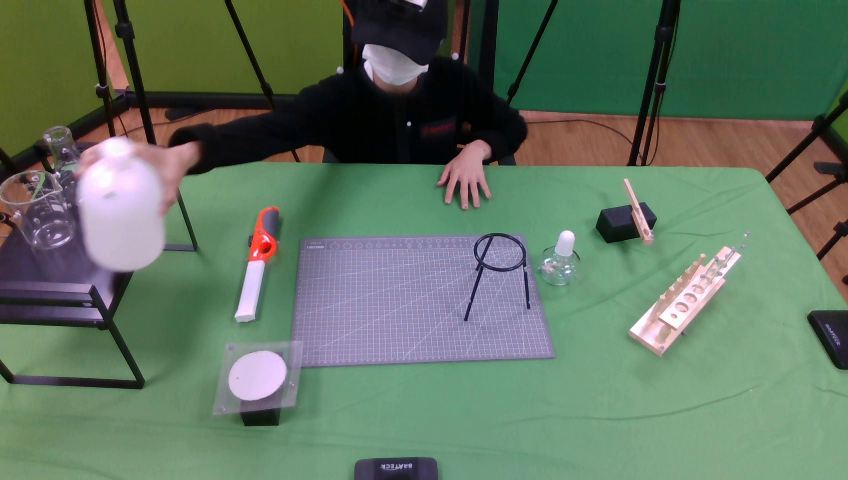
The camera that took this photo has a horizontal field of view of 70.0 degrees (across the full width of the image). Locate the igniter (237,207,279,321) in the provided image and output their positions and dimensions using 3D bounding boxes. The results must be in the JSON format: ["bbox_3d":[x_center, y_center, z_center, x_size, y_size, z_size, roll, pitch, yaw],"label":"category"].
[{"bbox_3d":[-0.309,0.035,1.136,0.057,0.025,0.274,-7,46,5],"label":"igniter"}]

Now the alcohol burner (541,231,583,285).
[{"bbox_3d":[0.258,0.028,1.123,0.078,0.120,0.077,1,48,-1],"label":"alcohol burner"}]

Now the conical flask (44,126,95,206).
[{"bbox_3d":[-0.554,-0.119,0.953,0.075,0.122,0.075,2,46,-2],"label":"conical flask"}]

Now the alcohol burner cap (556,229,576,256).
[{"bbox_3d":[0.260,0.002,1.098,0.034,0.048,0.033,3,40,-2],"label":"alcohol burner cap"}]

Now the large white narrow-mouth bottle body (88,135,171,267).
[{"bbox_3d":[-0.395,-0.058,0.817,0.102,0.195,0.101,13,44,-13],"label":"large white narrow-mouth bottle body"}]

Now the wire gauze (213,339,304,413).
[{"bbox_3d":[-0.250,0.203,0.924,0.121,0.011,0.124,-1,46,-3],"label":"wire gauze"}]

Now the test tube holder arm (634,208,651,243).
[{"bbox_3d":[0.428,-0.030,1.189,0.010,0.015,0.087,1,47,-2],"label":"test tube holder arm"}]

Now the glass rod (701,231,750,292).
[{"bbox_3d":[0.519,0.045,1.050,0.008,0.201,0.008,0,55,0],"label":"glass rod"}]

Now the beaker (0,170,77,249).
[{"bbox_3d":[-0.562,-0.042,0.894,0.084,0.101,0.073,-2,47,-7],"label":"beaker"}]

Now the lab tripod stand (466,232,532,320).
[{"bbox_3d":[0.125,0.059,1.065,0.148,0.132,0.147,1,45,0],"label":"lab tripod stand"}]

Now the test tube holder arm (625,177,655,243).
[{"bbox_3d":[0.433,-0.063,1.220,0.013,0.015,0.177,1,47,-3],"label":"test tube holder arm"}]

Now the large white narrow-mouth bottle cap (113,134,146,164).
[{"bbox_3d":[-0.369,-0.114,0.758,0.038,0.024,0.037,13,44,-13],"label":"large white narrow-mouth bottle cap"}]

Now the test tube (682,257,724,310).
[{"bbox_3d":[0.475,0.080,1.037,0.017,0.151,0.017,2,51,-2],"label":"test tube"}]

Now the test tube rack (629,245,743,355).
[{"bbox_3d":[0.474,0.095,1.091,0.242,0.085,0.066,-34,56,-31],"label":"test tube rack"}]
